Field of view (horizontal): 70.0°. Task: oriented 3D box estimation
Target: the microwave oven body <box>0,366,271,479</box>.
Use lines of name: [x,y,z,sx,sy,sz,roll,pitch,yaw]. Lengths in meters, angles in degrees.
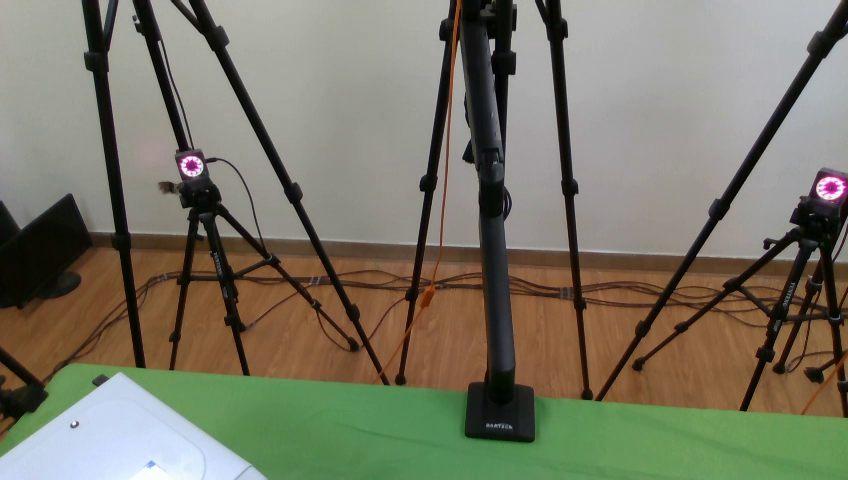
microwave oven body: [-0.433,0.426,0.724,0.323,0.262,0.441,22,44,28]
